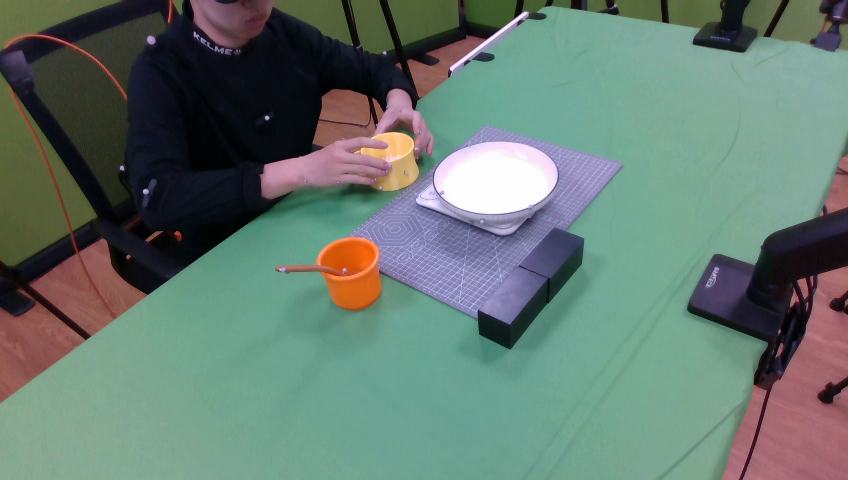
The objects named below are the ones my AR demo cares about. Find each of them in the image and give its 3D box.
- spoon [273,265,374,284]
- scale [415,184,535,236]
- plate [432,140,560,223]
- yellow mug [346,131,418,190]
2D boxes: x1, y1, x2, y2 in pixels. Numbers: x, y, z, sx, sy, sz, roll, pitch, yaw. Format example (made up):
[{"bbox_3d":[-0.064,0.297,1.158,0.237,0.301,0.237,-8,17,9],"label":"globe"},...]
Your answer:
[{"bbox_3d":[-0.136,0.045,0.839,0.041,0.195,0.021,18,91,33],"label":"spoon"},{"bbox_3d":[0.099,-0.080,1.035,0.199,0.032,0.149,23,48,31],"label":"scale"},{"bbox_3d":[0.118,-0.094,0.999,0.209,0.038,0.208,-4,41,4],"label":"plate"},{"bbox_3d":[-0.079,-0.145,1.113,0.131,0.064,0.099,-5,42,3],"label":"yellow mug"}]
